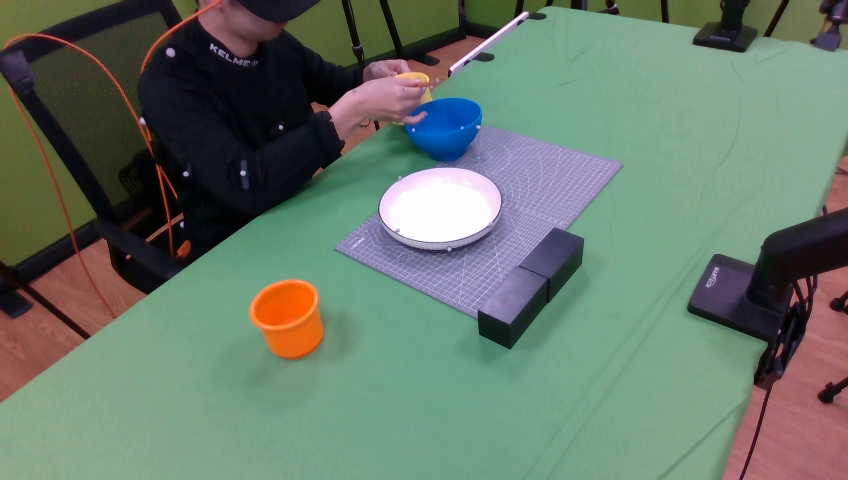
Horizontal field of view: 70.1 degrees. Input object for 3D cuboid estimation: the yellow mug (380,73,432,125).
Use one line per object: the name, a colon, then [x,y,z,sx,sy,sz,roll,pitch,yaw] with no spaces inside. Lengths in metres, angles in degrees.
yellow mug: [-0.039,-0.296,1.240,0.100,0.064,0.130,-22,40,-9]

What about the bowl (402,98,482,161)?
bowl: [0.040,-0.203,1.154,0.151,0.077,0.150,-7,37,6]

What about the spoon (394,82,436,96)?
spoon: [-0.019,-0.286,1.154,0.042,0.021,0.192,-18,10,-18]

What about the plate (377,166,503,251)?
plate: [0.027,-0.050,1.007,0.209,0.038,0.208,-4,41,4]
